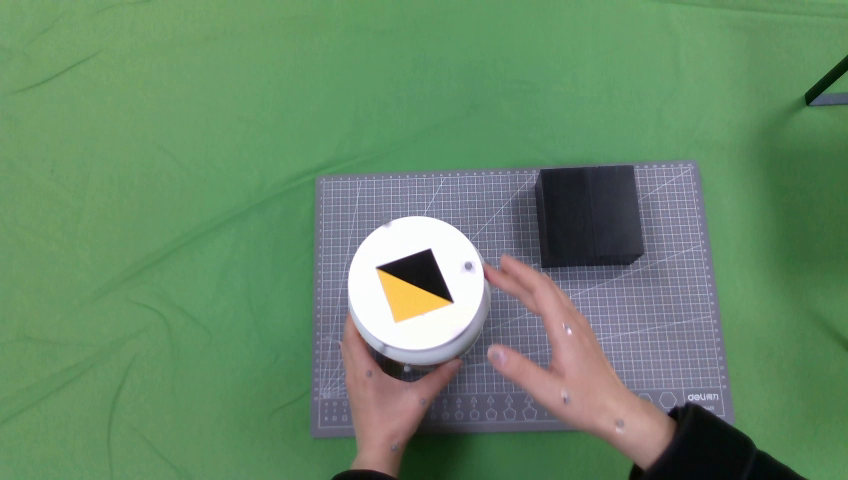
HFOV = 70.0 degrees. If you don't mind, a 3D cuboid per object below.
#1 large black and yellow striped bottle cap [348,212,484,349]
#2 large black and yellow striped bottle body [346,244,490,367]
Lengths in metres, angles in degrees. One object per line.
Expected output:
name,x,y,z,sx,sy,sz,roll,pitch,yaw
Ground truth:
large black and yellow striped bottle cap,-0.006,0.033,0.508,0.115,0.019,0.114,-1,77,3
large black and yellow striped bottle body,-0.003,0.054,0.590,0.131,0.185,0.130,-1,76,2
